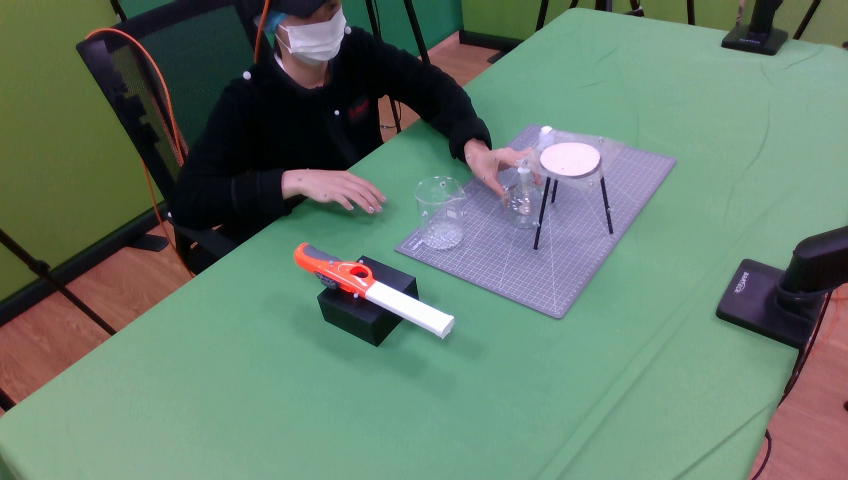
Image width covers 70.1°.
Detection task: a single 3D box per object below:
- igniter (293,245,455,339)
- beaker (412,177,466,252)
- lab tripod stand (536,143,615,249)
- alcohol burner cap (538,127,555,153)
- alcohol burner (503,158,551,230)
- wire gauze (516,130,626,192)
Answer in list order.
[{"bbox_3d":[-0.079,0.066,0.834,0.274,0.025,0.057,23,48,27],"label":"igniter"},{"bbox_3d":[0.029,-0.038,0.952,0.083,0.101,0.074,9,43,18],"label":"beaker"},{"bbox_3d":[0.224,-0.069,0.931,0.148,0.132,0.147,-4,42,4],"label":"lab tripod stand"},{"bbox_3d":[0.234,-0.191,1.147,0.034,0.048,0.033,-5,40,5],"label":"alcohol burner cap"},{"bbox_3d":[0.163,-0.077,0.966,0.078,0.119,0.077,-7,39,6],"label":"alcohol burner"},{"bbox_3d":[0.216,-0.124,0.892,0.124,0.011,0.122,22,49,31],"label":"wire gauze"}]
